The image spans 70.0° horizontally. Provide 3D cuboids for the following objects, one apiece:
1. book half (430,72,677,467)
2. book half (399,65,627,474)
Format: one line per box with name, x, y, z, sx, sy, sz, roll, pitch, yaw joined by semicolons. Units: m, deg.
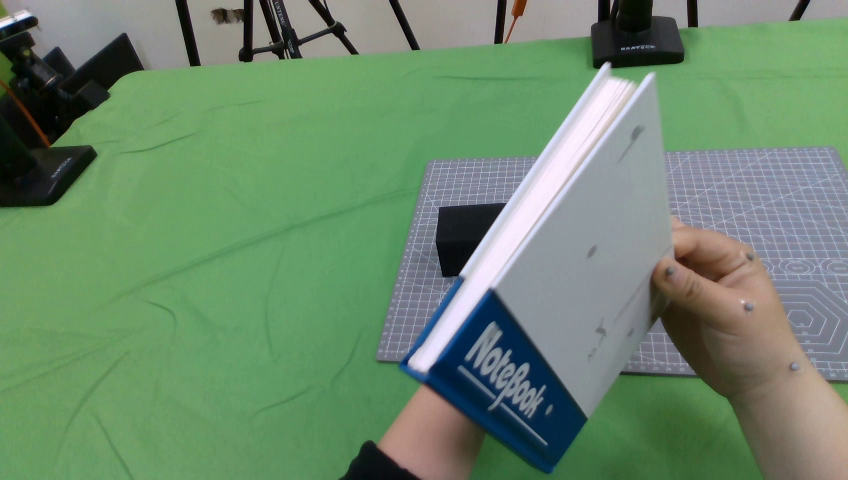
book half;0.083;0.039;0.305;0.007;0.212;0.143;32;79;35
book half;0.073;0.038;0.312;0.016;0.212;0.148;26;75;33
